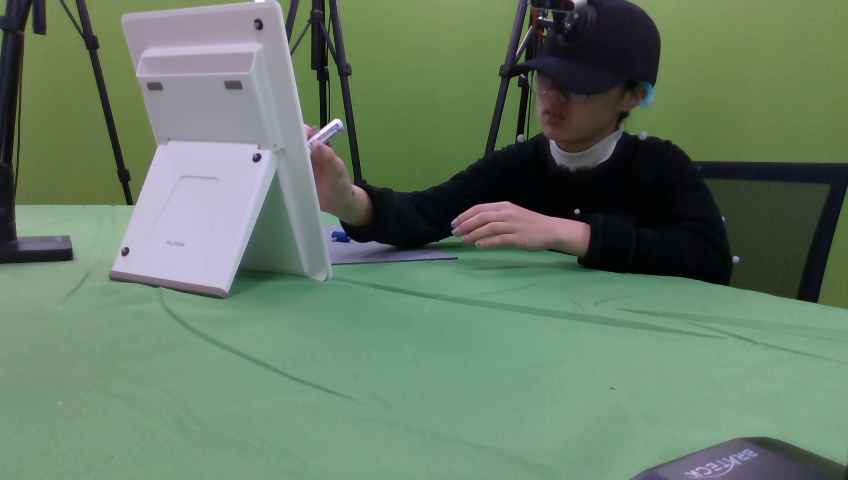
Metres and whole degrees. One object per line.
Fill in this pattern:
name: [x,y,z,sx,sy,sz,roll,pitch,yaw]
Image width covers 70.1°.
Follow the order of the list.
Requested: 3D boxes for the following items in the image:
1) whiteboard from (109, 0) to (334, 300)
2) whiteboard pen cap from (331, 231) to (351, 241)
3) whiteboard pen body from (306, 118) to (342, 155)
whiteboard: [-0.247,-0.072,0.624,0.216,0.305,0.144,6,28,26]
whiteboard pen cap: [-0.139,-0.007,1.011,0.033,0.018,0.018,4,7,36]
whiteboard pen body: [-0.127,-0.116,0.707,0.017,0.017,0.141,4,29,14]
